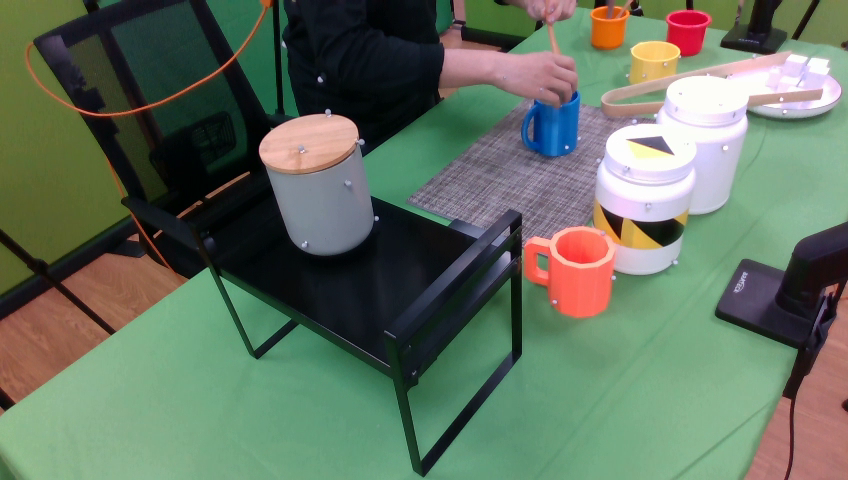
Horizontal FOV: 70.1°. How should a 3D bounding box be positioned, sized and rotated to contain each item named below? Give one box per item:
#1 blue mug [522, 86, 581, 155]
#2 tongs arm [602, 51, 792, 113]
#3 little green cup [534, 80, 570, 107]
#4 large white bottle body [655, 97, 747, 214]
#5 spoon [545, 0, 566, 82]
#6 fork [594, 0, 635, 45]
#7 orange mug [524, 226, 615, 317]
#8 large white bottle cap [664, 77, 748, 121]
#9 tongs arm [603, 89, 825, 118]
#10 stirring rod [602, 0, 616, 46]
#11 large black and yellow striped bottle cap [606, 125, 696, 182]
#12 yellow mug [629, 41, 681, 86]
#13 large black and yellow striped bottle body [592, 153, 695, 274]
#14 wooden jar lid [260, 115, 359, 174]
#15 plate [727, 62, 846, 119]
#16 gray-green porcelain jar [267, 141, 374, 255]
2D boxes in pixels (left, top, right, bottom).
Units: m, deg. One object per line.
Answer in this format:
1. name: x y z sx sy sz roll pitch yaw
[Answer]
1. blue mug: 0.234 -0.219 1.127 0.117 0.106 0.081 -21 42 -15
2. tongs arm: 0.552 -0.320 1.224 0.384 0.027 0.050 -10 43 7
3. little green cup: 0.220 -0.254 1.050 0.061 0.038 0.061 6 9 -1
4. large white bottle body: 0.431 -0.148 0.959 0.130 0.185 0.130 -4 41 4
5. spoon: 0.222 -0.361 1.046 0.021 0.194 0.042 3 22 44
6. fork: 0.484 -0.552 1.447 0.207 0.019 0.028 -51 47 17
7. orange mug: 0.201 0.039 0.845 0.125 0.101 0.083 18 46 21
8. large white bottle cap: 0.421 -0.212 0.905 0.115 0.018 0.114 -4 40 4
9. tongs arm: 0.546 -0.262 1.163 0.386 0.028 0.028 -1 49 18
10. stirring rod: 0.452 -0.554 1.464 0.014 0.006 0.176 11 86 15
11. large black and yellow striped bottle cap: 0.305 -0.119 0.816 0.115 0.019 0.114 -5 41 5
12. yellow mug: 0.495 -0.389 1.321 0.100 0.064 0.130 -14 40 -6
13. large black and yellow striped bottle body: 0.313 -0.056 0.872 0.131 0.185 0.130 -4 41 4
14. wooden jar lid: -0.124 -0.101 0.662 0.108 0.021 0.108 -4 41 4
15. plate: 0.709 -0.292 1.197 0.207 0.039 0.206 -4 40 4
16. gray-green porcelain jar: -0.116 -0.054 0.703 0.106 0.127 0.105 -4 40 4
